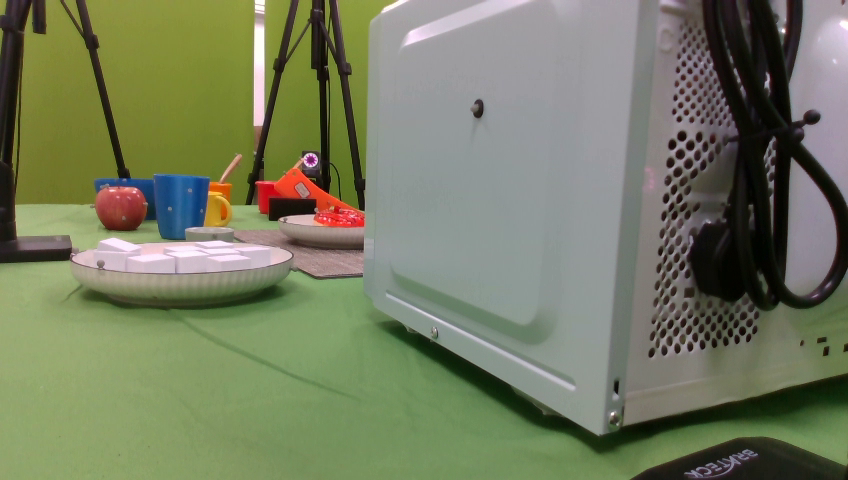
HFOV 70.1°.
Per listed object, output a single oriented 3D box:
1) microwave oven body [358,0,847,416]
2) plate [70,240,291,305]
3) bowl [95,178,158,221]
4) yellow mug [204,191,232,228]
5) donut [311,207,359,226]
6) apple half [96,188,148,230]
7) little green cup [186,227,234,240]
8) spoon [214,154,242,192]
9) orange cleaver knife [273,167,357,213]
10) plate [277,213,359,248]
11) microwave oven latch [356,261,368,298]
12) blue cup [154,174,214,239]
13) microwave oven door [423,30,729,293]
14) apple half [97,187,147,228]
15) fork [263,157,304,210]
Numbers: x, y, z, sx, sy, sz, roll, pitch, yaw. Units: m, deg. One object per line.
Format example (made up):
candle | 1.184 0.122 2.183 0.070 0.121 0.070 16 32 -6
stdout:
microwave oven body | 0.210 -0.047 0.474 0.444 0.260 0.324 -1 7 -28
plate | -0.242 0.031 0.618 0.208 0.039 0.207 2 8 0
bowl | -0.576 -0.081 1.217 0.151 0.077 0.151 3 8 0
yellow mug | -0.415 -0.057 1.131 0.130 0.064 0.100 6 7 16
donut | -0.137 -0.029 0.995 0.099 0.048 0.099 4 9 0
apple half | -0.517 -0.052 1.036 0.081 0.074 0.053 2 10 -26
little green cup | -0.285 0.005 0.805 0.061 0.038 0.061 2 8 0
spoon | -0.439 -0.123 1.318 0.041 0.193 0.022 5 -36 16
orange cleaver knife | -0.238 -0.091 1.381 0.212 0.077 0.012 31 0 -19
plate | -0.135 -0.017 0.992 0.209 0.038 0.209 2 8 0
microwave oven latch | -0.020 0.033 0.530 0.079 0.029 0.030 0 7 -26
blue cup | -0.391 -0.054 0.978 0.093 0.100 0.092 4 6 0
microwave oven door | 0.174 -0.074 0.636 0.357 0.243 0.039 -1 8 -23
apple half | -0.534 -0.059 1.070 0.082 0.081 0.032 -1 11 -25
fork | -0.345 -0.143 1.505 0.028 0.019 0.207 -4 46 28
